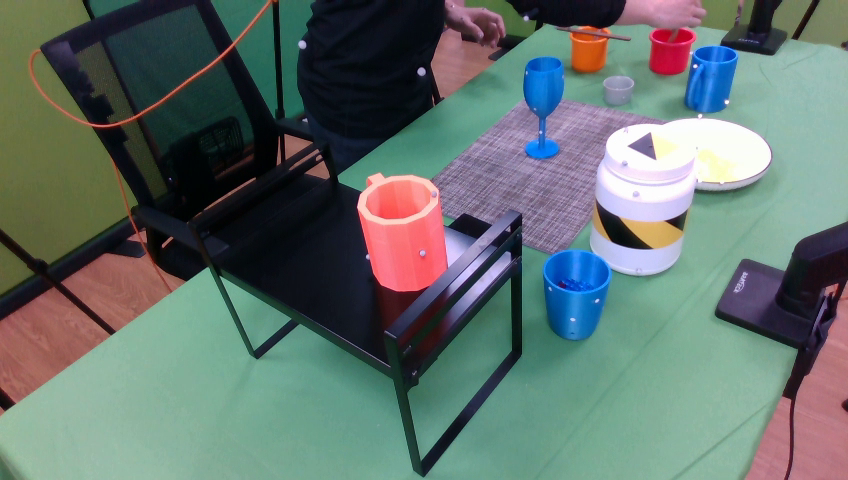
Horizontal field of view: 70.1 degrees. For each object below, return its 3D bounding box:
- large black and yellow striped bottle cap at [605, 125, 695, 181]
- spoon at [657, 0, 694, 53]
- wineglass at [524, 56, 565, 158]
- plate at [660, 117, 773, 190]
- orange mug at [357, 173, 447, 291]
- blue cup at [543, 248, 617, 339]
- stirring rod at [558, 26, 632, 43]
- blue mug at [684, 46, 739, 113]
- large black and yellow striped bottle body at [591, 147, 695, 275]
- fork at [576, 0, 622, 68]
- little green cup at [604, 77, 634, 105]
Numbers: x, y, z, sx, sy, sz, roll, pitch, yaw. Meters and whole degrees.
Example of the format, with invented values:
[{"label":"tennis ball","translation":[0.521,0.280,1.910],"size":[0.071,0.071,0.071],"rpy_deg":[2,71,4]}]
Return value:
[{"label":"large black and yellow striped bottle cap","translation":[0.304,-0.120,0.817],"size":[0.115,0.019,0.114],"rpy_deg":[-3,41,3]},{"label":"spoon","translation":[0.546,-0.474,1.263],"size":[0.021,0.194,0.042],"rpy_deg":[39,49,19]},{"label":"wineglass","translation":[0.218,-0.240,1.102],"size":[0.074,0.173,0.073],"rpy_deg":[-5,41,4]},{"label":"plate","translation":[0.495,-0.148,1.063],"size":[0.209,0.038,0.208],"rpy_deg":[-5,40,4]},{"label":"orange mug","translation":[-0.029,-0.018,0.669],"size":[0.084,0.101,0.125],"rpy_deg":[-23,46,-16]},{"label":"blue cup","translation":[0.199,0.076,0.797],"size":[0.092,0.100,0.092],"rpy_deg":[-4,39,4]},{"label":"stirring rod","translation":[0.381,-0.461,1.357],"size":[0.175,0.006,0.014],"rpy_deg":[23,48,29]},{"label":"blue mug","translation":[0.556,-0.310,1.190],"size":[0.117,0.106,0.081],"rpy_deg":[-32,46,-25]},{"label":"large black and yellow striped bottle body","translation":[0.313,-0.056,0.870],"size":[0.131,0.185,0.130],"rpy_deg":[-4,40,4]},{"label":"fork","translation":[0.409,-0.484,1.380],"size":[0.028,0.019,0.207],"rpy_deg":[37,101,46]},{"label":"little green cup","translation":[0.407,-0.311,1.266],"size":[0.061,0.039,0.061],"rpy_deg":[-5,40,5]}]
